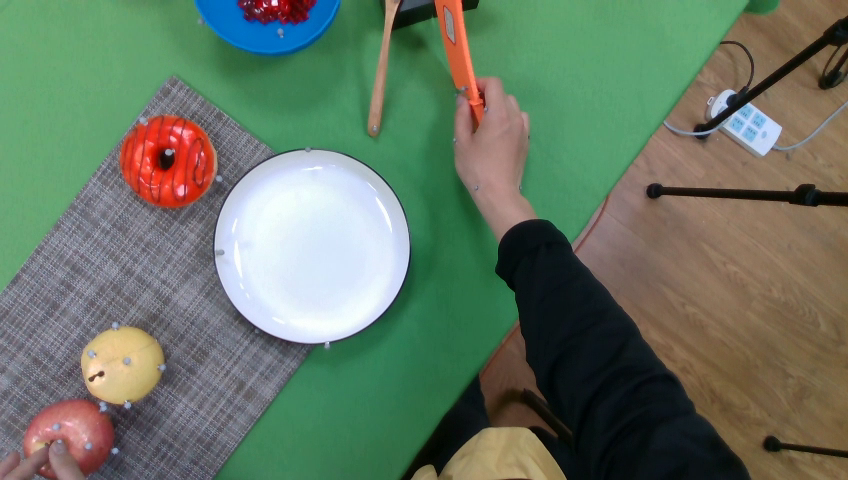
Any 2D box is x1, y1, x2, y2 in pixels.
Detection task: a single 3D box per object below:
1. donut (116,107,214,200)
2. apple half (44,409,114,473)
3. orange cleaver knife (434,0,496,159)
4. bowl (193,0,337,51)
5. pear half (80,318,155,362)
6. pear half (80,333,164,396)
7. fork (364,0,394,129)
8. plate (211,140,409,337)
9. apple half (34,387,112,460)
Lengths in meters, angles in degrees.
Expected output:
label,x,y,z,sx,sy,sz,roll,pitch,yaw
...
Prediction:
label,x,y,z,sx,sy,sz,roll,pitch,yaw
donut,-0.272,-0.091,0.639,0.099,0.048,0.099,0,94,-2
apple half,-0.344,0.211,0.624,0.033,0.081,0.081,41,88,0
orange cleaver knife,0.039,-0.189,0.645,0.012,0.076,0.213,-24,121,-10
bowl,-0.160,-0.264,0.632,0.151,0.076,0.151,0,91,-4
pear half,-0.317,0.098,0.617,0.070,0.088,0.031,-23,91,1
pear half,-0.305,0.131,0.608,0.076,0.110,0.056,-23,91,0
fork,-0.043,-0.218,0.636,0.028,0.018,0.208,7,110,-10
plate,-0.120,-0.001,0.655,0.209,0.038,0.209,0,91,-4
apple half,-0.366,0.188,0.624,0.053,0.074,0.081,14,96,-2
